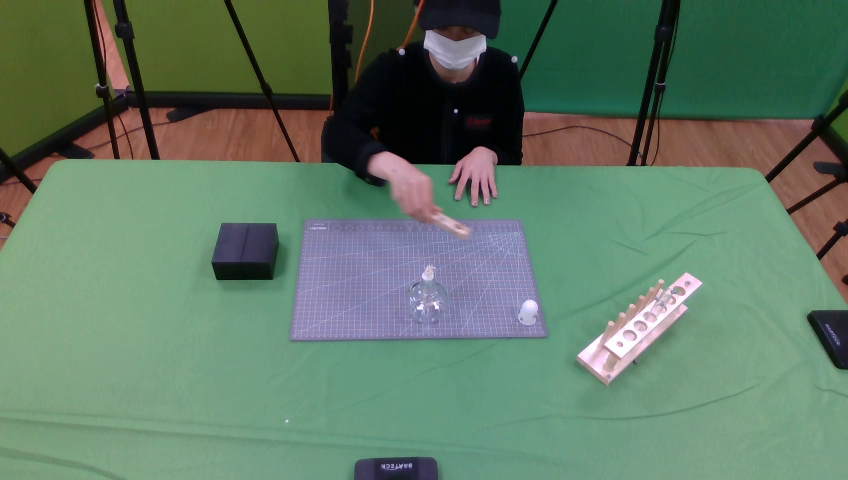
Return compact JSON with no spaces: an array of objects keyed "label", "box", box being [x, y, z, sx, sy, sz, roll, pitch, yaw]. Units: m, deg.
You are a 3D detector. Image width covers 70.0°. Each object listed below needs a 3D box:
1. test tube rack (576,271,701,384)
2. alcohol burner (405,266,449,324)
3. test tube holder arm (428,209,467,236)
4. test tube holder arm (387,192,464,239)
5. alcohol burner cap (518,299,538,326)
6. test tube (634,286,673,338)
[{"label":"test tube rack","box":[0.373,0.138,1.047,0.242,0.085,0.066,-31,56,-29]},{"label":"alcohol burner","box":[0.005,0.089,1.043,0.078,0.120,0.077,1,45,-1]},{"label":"test tube holder arm","box":[0.037,-0.029,1.021,0.087,0.015,0.010,29,51,33]},{"label":"test tube holder arm","box":[0.000,-0.044,1.043,0.177,0.015,0.013,28,51,33]},{"label":"alcohol burner cap","box":[0.186,0.126,1.072,0.034,0.048,0.033,2,45,-1]},{"label":"test tube","box":[0.374,0.123,0.993,0.017,0.151,0.017,2,52,-2]}]
